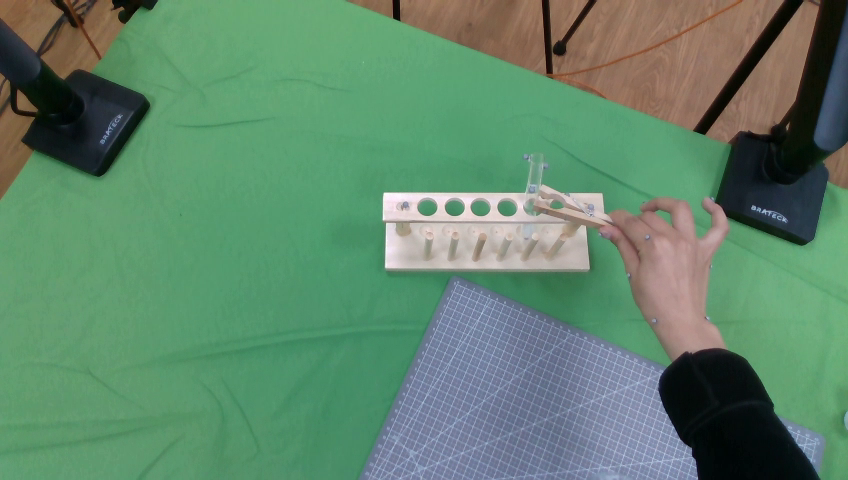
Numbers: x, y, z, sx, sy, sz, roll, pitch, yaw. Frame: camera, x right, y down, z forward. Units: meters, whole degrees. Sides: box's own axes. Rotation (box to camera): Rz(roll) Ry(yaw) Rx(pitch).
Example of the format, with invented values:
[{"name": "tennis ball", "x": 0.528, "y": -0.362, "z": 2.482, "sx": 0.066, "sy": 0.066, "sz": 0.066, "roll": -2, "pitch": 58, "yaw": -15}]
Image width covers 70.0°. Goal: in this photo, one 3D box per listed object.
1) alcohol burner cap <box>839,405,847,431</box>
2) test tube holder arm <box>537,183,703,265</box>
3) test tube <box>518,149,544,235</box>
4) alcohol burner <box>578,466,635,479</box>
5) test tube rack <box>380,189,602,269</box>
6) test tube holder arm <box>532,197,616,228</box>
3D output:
[{"name": "alcohol burner cap", "x": 0.482, "y": 0.194, "z": 0.658, "sx": 0.034, "sy": 0.048, "sz": 0.033, "roll": 0, "pitch": 70, "yaw": -1}, {"name": "test tube holder arm", "x": 0.198, "y": -0.017, "z": 0.622, "sx": 0.177, "sy": 0.015, "sz": 0.013, "roll": 25, "pitch": 78, "yaw": 14}, {"name": "test tube", "x": 0.114, "y": -0.046, "z": 0.651, "sx": 0.017, "sy": 0.151, "sz": 0.017, "roll": -2, "pitch": 60, "yaw": 3}, {"name": "alcohol burner", "x": 0.184, "y": 0.262, "z": 0.588, "sx": 0.078, "sy": 0.119, "sz": 0.077, "roll": 1, "pitch": 73, "yaw": -1}, {"name": "test tube rack", "x": 0.073, "y": -0.011, "z": 0.694, "sx": 0.242, "sy": 0.085, "sz": 0.066, "roll": 0, "pitch": 71, "yaw": -1}, {"name": "test tube holder arm", "x": 0.156, "y": -0.028, "z": 0.631, "sx": 0.087, "sy": 0.015, "sz": 0.010, "roll": 15, "pitch": 75, "yaw": 12}]
